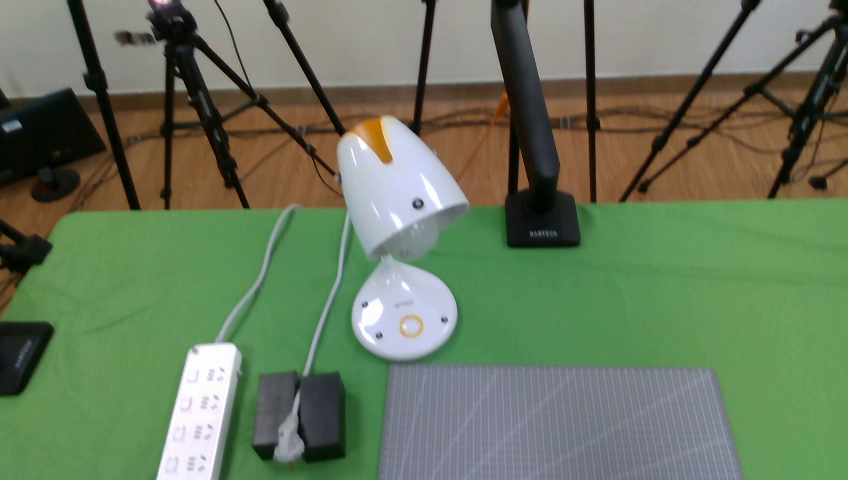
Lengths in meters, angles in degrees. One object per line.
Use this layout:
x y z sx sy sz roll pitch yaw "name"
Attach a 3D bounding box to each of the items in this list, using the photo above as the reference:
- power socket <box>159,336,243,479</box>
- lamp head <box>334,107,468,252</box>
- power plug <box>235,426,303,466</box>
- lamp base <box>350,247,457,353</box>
-0.299 0.230 0.824 0.072 0.033 0.224 -3 50 1 "power socket"
-0.033 -0.063 0.584 0.112 0.113 0.122 -26 77 -15 "lamp head"
-0.183 0.254 0.735 0.072 0.053 0.035 -18 8 -3 "power plug"
-0.043 0.043 0.861 0.161 0.182 0.177 -23 50 -14 "lamp base"
